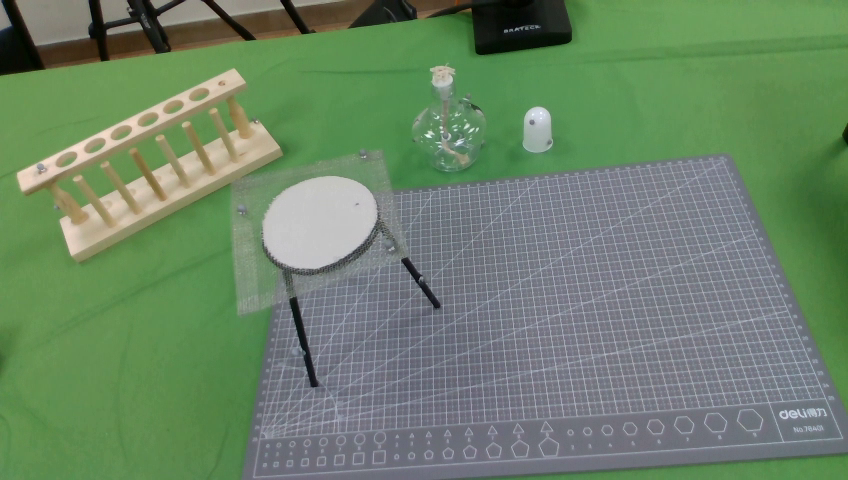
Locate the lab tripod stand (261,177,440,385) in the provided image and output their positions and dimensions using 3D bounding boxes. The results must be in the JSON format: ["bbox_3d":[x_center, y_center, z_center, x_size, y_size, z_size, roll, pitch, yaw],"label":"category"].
[{"bbox_3d":[-0.067,0.029,0.491,0.148,0.133,0.147,-4,53,6],"label":"lab tripod stand"}]

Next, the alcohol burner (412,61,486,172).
[{"bbox_3d":[0.024,-0.128,0.615,0.078,0.120,0.077,-5,49,6],"label":"alcohol burner"}]

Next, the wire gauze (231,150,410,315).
[{"bbox_3d":[-0.079,-0.014,0.440,0.121,0.011,0.123,-15,52,-2],"label":"wire gauze"}]

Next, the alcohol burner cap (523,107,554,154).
[{"bbox_3d":[0.120,-0.117,0.636,0.034,0.048,0.033,-6,52,8],"label":"alcohol burner cap"}]

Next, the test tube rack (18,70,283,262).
[{"bbox_3d":[-0.285,-0.082,0.652,0.242,0.086,0.066,-31,53,-14],"label":"test tube rack"}]
